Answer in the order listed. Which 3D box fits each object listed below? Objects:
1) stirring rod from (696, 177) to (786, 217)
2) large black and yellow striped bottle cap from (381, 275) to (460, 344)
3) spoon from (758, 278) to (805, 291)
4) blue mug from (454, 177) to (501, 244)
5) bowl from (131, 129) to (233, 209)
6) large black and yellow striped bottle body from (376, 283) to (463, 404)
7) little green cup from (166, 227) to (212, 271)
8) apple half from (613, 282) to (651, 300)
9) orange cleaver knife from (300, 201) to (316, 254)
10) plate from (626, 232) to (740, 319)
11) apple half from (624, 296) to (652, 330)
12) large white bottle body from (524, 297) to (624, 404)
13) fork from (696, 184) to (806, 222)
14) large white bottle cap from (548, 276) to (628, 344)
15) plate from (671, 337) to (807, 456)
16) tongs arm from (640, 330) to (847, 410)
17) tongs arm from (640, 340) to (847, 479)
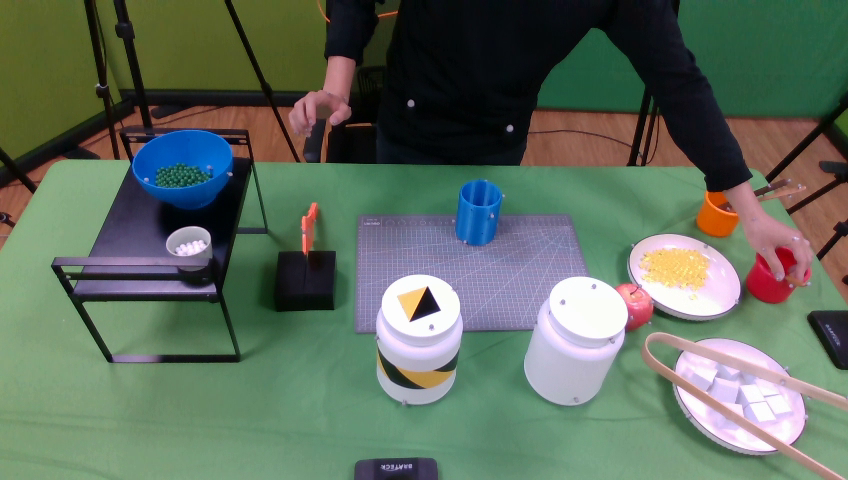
[{"bbox_3d":[0.648,-0.087,1.244,0.176,0.006,0.014,-25,51,29],"label":"stirring rod"},{"bbox_3d":[-0.005,0.098,0.874,0.115,0.019,0.114,2,45,-1],"label":"large black and yellow striped bottle cap"},{"bbox_3d":[0.650,0.078,1.100,0.041,0.194,0.021,14,84,15],"label":"spoon"},{"bbox_3d":[0.106,-0.067,1.208,0.082,0.106,0.116,5,46,1],"label":"blue mug"},{"bbox_3d":[-0.381,-0.103,0.978,0.151,0.077,0.150,2,46,-2],"label":"bowl"},{"bbox_3d":[-0.010,0.155,0.937,0.131,0.185,0.130,2,47,-2],"label":"large black and yellow striped bottle body"},{"bbox_3d":[-0.344,0.014,0.895,0.061,0.039,0.061,3,46,-3],"label":"little green cup"},{"bbox_3d":[0.356,0.109,1.086,0.081,0.075,0.053,-14,44,-12],"label":"apple half"},{"bbox_3d":[-0.221,-0.027,1.160,0.012,0.077,0.210,-1,15,-4],"label":"orange cleaver knife"},{"bbox_3d":[0.488,0.071,1.157,0.209,0.038,0.208,3,46,-2],"label":"plate"},{"bbox_3d":[0.368,0.135,1.060,0.081,0.081,0.032,-11,43,-15],"label":"apple half"},{"bbox_3d":[0.235,0.159,0.952,0.131,0.185,0.130,2,47,-2],"label":"large white bottle body"},{"bbox_3d":[0.658,-0.074,1.229,0.207,0.019,0.028,-24,33,36],"label":"fork"},{"bbox_3d":[0.240,0.100,0.890,0.115,0.018,0.114,3,47,-3],"label":"large white bottle cap"},{"bbox_3d":[0.503,0.254,0.984,0.208,0.039,0.206,2,46,-2],"label":"plate"},{"bbox_3d":[0.543,0.225,0.969,0.384,0.026,0.050,22,52,13],"label":"tongs arm"},{"bbox_3d":[0.500,0.277,0.920,0.386,0.028,0.028,34,59,22],"label":"tongs arm"}]
